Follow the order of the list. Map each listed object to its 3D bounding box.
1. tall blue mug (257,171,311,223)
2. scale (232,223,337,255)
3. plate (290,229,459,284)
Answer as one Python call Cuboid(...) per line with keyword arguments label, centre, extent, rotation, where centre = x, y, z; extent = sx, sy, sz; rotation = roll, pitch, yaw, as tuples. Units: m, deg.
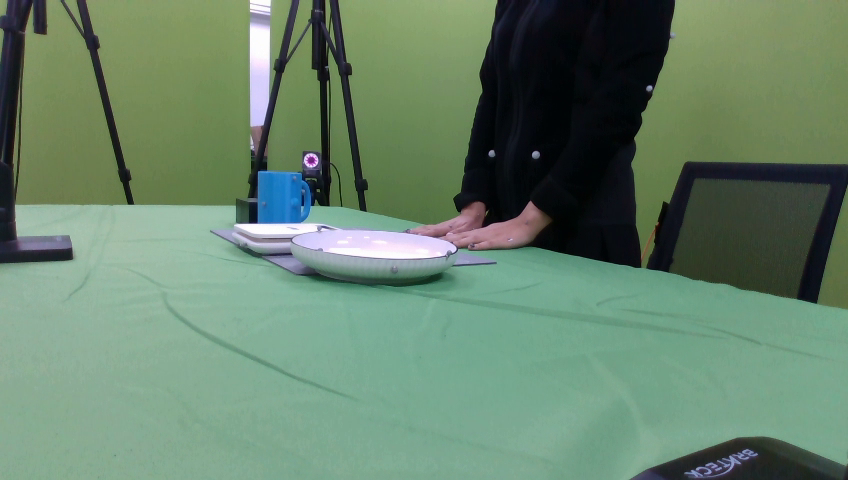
Cuboid(label="tall blue mug", centre=(-0.258, -0.070, 1.107), extent=(0.078, 0.108, 0.107), rotation=(2, 7, 5))
Cuboid(label="scale", centre=(-0.178, -0.004, 0.920), extent=(0.202, 0.031, 0.148), rotation=(-1, 9, -30))
Cuboid(label="plate", centre=(-0.061, 0.020, 0.753), extent=(0.209, 0.038, 0.209), rotation=(3, 9, 0))
